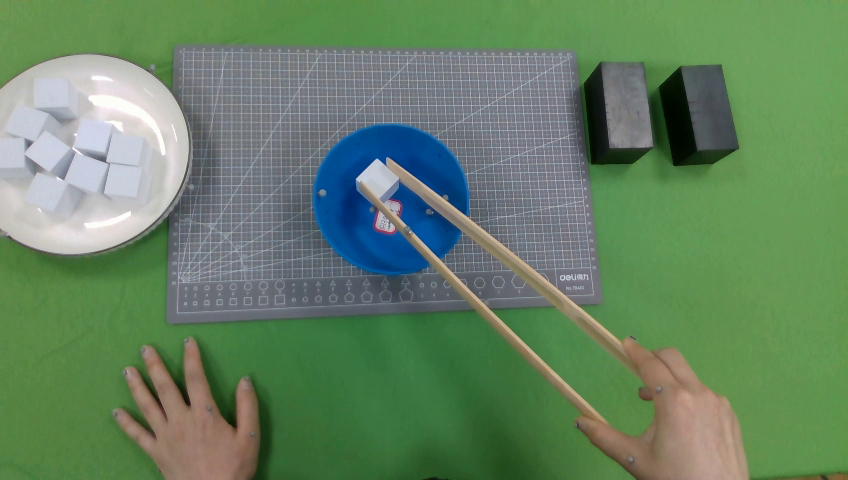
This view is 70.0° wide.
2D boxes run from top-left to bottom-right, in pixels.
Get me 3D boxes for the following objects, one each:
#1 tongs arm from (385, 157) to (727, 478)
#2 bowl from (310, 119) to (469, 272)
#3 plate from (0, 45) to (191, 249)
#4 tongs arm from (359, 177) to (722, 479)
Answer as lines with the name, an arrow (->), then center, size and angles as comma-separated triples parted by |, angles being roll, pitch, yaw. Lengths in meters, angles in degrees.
tongs arm -> 0.096, 0.048, 0.521 | 0.028, 0.028, 0.384 | -39, 68, -21
bowl -> -0.036, -0.036, 0.609 | 0.152, 0.077, 0.150 | 2, 78, -7
plate -> -0.336, -0.090, 0.603 | 0.208, 0.039, 0.206 | 1, 79, -6
tongs arm -> 0.079, 0.063, 0.514 | 0.051, 0.027, 0.381 | -37, 68, -16
